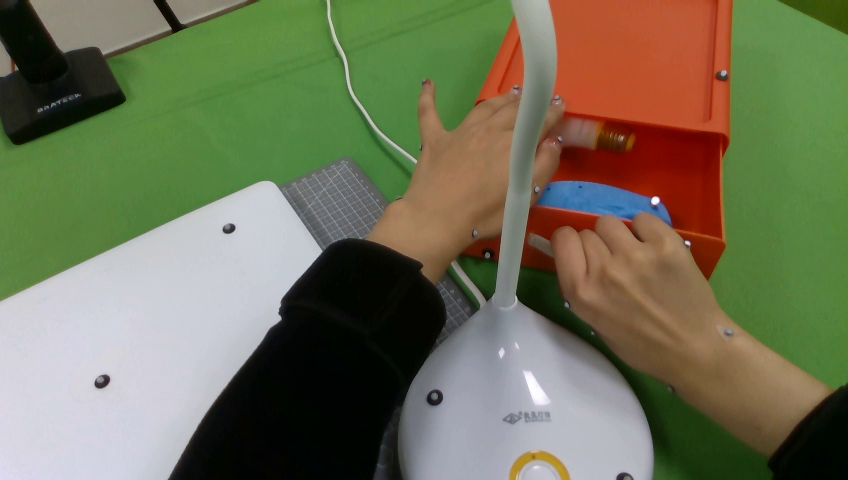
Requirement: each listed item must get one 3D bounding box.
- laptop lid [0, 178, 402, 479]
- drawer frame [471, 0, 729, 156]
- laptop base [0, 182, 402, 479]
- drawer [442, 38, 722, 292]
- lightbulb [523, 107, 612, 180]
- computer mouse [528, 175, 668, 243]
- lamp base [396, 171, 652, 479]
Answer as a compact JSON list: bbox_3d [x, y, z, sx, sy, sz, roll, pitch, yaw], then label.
[{"bbox_3d":[-0.220,0.099,0.421,0.357,0.013,0.239,-28,57,-16],"label":"laptop lid"},{"bbox_3d":[0.167,-0.154,0.563,0.201,0.083,0.212,11,53,14],"label":"drawer frame"},{"bbox_3d":[-0.221,0.105,0.432,0.354,0.023,0.233,-29,58,-17],"label":"laptop base"},{"bbox_3d":[0.136,-0.073,0.503,0.194,0.074,0.210,10,54,14],"label":"drawer"},{"bbox_3d":[0.125,-0.080,0.518,0.059,0.060,0.106,-19,36,-10],"label":"lightbulb"},{"bbox_3d":[0.133,-0.017,0.475,0.117,0.041,0.062,9,48,3],"label":"computer mouse"},{"bbox_3d":[0.055,0.064,0.335,0.161,0.182,0.177,-13,49,-7],"label":"lamp base"}]
